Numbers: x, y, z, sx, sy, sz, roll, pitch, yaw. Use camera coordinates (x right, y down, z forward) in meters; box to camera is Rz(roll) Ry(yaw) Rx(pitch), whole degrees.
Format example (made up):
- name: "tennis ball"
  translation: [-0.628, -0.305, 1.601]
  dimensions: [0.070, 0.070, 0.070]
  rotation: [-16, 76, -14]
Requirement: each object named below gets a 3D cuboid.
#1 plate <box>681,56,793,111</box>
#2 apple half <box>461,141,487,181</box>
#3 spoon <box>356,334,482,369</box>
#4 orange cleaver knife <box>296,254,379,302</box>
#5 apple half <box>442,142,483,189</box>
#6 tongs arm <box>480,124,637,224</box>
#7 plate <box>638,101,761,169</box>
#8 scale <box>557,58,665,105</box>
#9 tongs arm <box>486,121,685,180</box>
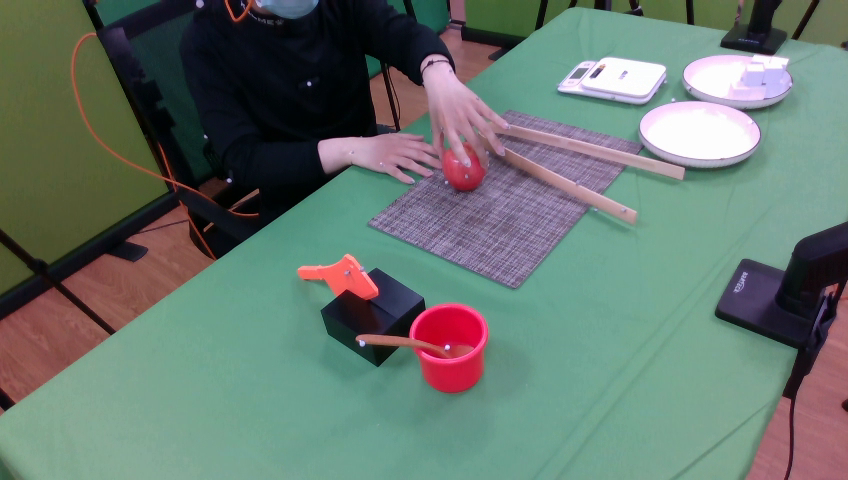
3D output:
- name: "plate"
  translation: [0.636, -0.317, 1.239]
  dimensions: [0.207, 0.039, 0.206]
  rotation: [-4, 40, 4]
- name: "apple half"
  translation: [0.093, -0.142, 1.077]
  dimensions: [0.033, 0.081, 0.080]
  rotation: [-27, 44, -18]
- name: "spoon"
  translation: [-0.001, 0.130, 0.731]
  dimensions: [0.195, 0.021, 0.041]
  rotation: [21, 28, -39]
- name: "orange cleaver knife"
  translation: [-0.128, 0.058, 0.874]
  dimensions: [0.012, 0.077, 0.210]
  rotation: [-38, 16, -30]
- name: "apple half"
  translation: [0.061, -0.125, 1.063]
  dimensions: [0.053, 0.075, 0.080]
  rotation: [-28, 49, -18]
- name: "tongs arm"
  translation: [0.228, -0.128, 1.081]
  dimensions: [0.051, 0.026, 0.381]
  rotation: [-33, 46, -26]
- name: "plate"
  translation: [0.500, -0.189, 1.111]
  dimensions: [0.209, 0.038, 0.208]
  rotation: [-4, 41, 4]
- name: "scale"
  translation: [0.407, -0.348, 1.314]
  dimensions: [0.199, 0.032, 0.149]
  rotation: [19, 47, 28]
- name: "tongs arm"
  translation: [0.288, -0.170, 1.124]
  dimensions: [0.384, 0.028, 0.028]
  rotation: [21, 52, 30]
